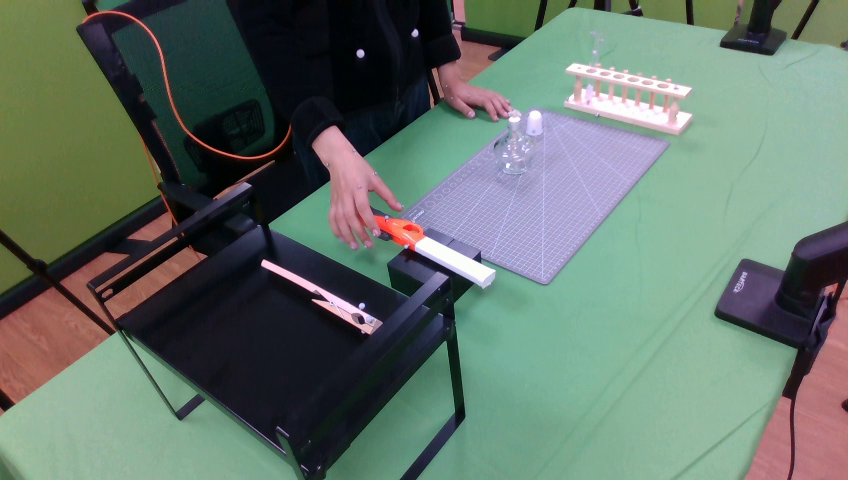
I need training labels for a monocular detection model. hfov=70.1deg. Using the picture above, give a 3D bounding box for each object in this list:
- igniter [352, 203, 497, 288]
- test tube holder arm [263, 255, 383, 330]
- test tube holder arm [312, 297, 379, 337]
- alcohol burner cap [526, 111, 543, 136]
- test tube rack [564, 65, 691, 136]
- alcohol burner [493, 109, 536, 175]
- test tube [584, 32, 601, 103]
[{"bbox_3d":[-0.011,0.002,0.900,0.274,0.025,0.057,27,43,33],"label":"igniter"},{"bbox_3d":[-0.113,0.054,0.647,0.177,0.015,0.013,26,80,33],"label":"test tube holder arm"},{"bbox_3d":[-0.082,0.075,0.622,0.087,0.015,0.010,27,80,33],"label":"test tube holder arm"},{"bbox_3d":[0.219,-0.232,1.196,0.034,0.048,0.033,-4,41,4],"label":"alcohol burner cap"},{"bbox_3d":[0.404,-0.288,1.204,0.240,0.085,0.067,24,49,32],"label":"test tube rack"},{"bbox_3d":[0.163,-0.179,1.087,0.078,0.119,0.077,-5,38,4],"label":"alcohol burner"},{"bbox_3d":[0.333,-0.338,1.198,0.017,0.151,0.017,-3,45,3],"label":"test tube"}]
